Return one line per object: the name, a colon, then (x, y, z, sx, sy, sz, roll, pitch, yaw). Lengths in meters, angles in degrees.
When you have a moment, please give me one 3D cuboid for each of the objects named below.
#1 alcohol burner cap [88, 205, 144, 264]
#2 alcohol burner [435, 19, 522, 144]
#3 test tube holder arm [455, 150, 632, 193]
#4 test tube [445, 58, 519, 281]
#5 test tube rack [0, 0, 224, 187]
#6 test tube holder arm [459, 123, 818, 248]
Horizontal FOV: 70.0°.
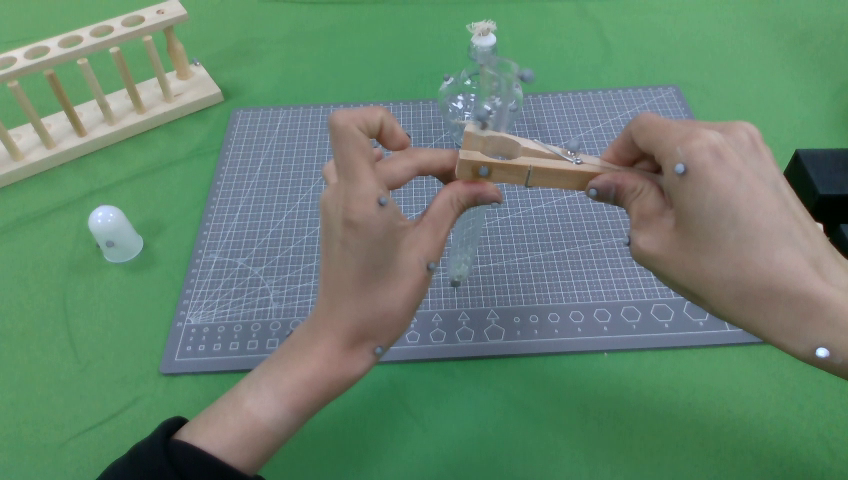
alcohol burner cap: (-0.250, -0.007, 0.487, 0.034, 0.048, 0.033, -1, 49, 1)
alcohol burner: (0.049, -0.140, 0.533, 0.078, 0.120, 0.077, 0, 51, 1)
test tube holder arm: (0.060, -0.034, 0.305, 0.088, 0.015, 0.010, 4, 47, -4)
test tube: (0.028, -0.028, 0.326, 0.017, 0.151, 0.017, 4, 47, -4)
test tube rack: (-0.327, -0.139, 0.572, 0.242, 0.086, 0.066, -28, 54, -19)
test tube holder arm: (0.104, -0.029, 0.305, 0.178, 0.015, 0.013, 17, 49, 8)
